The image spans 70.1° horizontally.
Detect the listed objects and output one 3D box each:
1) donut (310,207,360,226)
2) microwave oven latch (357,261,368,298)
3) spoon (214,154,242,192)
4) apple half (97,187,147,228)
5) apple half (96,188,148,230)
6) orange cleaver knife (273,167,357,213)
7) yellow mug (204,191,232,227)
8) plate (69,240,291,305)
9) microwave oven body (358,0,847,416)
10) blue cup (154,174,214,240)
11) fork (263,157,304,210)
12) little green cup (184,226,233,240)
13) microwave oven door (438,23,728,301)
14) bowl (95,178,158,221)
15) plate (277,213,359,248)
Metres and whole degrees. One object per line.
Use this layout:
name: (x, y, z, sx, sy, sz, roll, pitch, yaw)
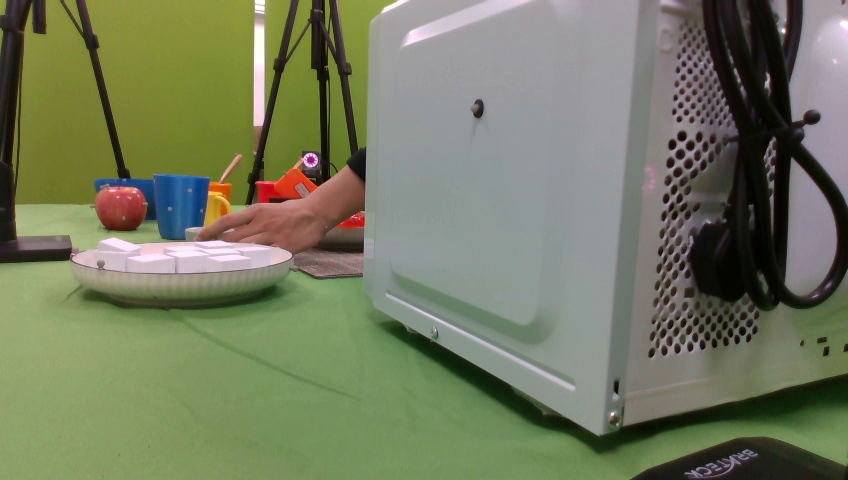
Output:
donut: (-0.137, -0.029, 0.995, 0.099, 0.048, 0.099, 3, 8, 0)
microwave oven latch: (-0.019, 0.033, 0.529, 0.079, 0.029, 0.030, 0, 7, -25)
spoon: (-0.440, -0.124, 1.318, 0.041, 0.193, 0.022, 5, -36, 17)
apple half: (-0.534, -0.059, 1.070, 0.082, 0.081, 0.032, -1, 11, -25)
apple half: (-0.517, -0.052, 1.036, 0.081, 0.074, 0.053, 2, 10, -26)
orange cleaver knife: (-0.238, -0.090, 1.381, 0.212, 0.077, 0.012, 31, 0, -19)
yellow mug: (-0.415, -0.057, 1.131, 0.130, 0.064, 0.100, 6, 8, 16)
plate: (-0.242, 0.031, 0.618, 0.208, 0.039, 0.207, 2, 8, 0)
microwave oven body: (0.211, -0.047, 0.474, 0.444, 0.260, 0.324, -1, 7, -28)
blue cup: (-0.391, -0.054, 0.978, 0.093, 0.100, 0.092, 4, 6, 0)
fork: (-0.345, -0.143, 1.505, 0.028, 0.019, 0.207, -3, 46, 28)
little green cup: (-0.285, 0.004, 0.805, 0.061, 0.038, 0.061, 0, 9, 0)
microwave oven door: (0.181, -0.072, 0.620, 0.358, 0.243, 0.039, -2, 8, -29)
bowl: (-0.576, -0.081, 1.217, 0.151, 0.077, 0.151, 3, 8, 0)
plate: (-0.135, -0.017, 0.992, 0.209, 0.038, 0.209, 3, 8, 0)
